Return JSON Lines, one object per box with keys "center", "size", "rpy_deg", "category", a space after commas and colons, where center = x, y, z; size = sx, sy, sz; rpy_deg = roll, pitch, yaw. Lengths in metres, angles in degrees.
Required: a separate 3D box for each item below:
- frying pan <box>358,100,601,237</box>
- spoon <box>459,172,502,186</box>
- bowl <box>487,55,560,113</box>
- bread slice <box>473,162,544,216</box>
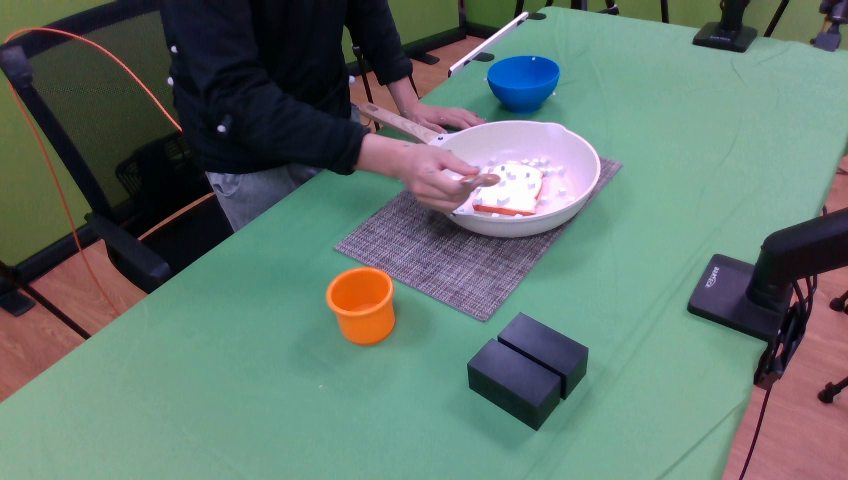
{"center": [0.067, -0.153, 1.067], "size": [0.484, 0.103, 0.308], "rpy_deg": [32, 53, 26], "category": "frying pan"}
{"center": [0.073, -0.084, 0.827], "size": [0.041, 0.021, 0.194], "rpy_deg": [3, 5, 17], "category": "spoon"}
{"center": [0.208, -0.319, 1.266], "size": [0.151, 0.077, 0.150], "rpy_deg": [-4, 41, 4], "category": "bowl"}
{"center": [0.150, -0.088, 1.042], "size": [0.106, 0.018, 0.134], "rpy_deg": [7, 45, 16], "category": "bread slice"}
